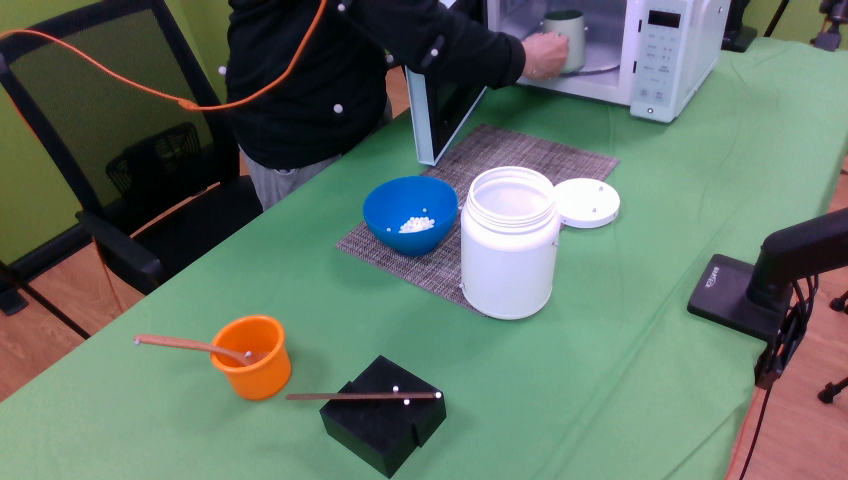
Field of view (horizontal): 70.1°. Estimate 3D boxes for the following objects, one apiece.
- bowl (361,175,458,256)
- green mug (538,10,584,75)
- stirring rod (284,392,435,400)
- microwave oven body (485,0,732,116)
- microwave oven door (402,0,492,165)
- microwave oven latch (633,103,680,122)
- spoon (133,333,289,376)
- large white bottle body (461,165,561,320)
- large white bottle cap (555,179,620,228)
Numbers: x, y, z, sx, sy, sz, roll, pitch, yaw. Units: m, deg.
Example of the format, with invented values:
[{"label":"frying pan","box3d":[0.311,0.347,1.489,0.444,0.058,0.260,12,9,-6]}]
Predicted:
[{"label":"bowl","box3d":[-0.019,-0.028,0.955,0.151,0.077,0.150,-4,40,3]},{"label":"green mug","box3d":[0.270,-0.387,1.210,0.092,0.105,0.125,11,47,22]},{"label":"stirring rod","box3d":[-0.075,0.180,0.698,0.176,0.006,0.014,-2,6,6]},{"label":"microwave oven body","box3d":[0.377,-0.462,1.267,0.438,0.261,0.327,21,49,30]},{"label":"microwave oven door","box3d":[0.056,-0.343,1.167,0.039,0.245,0.356,11,43,20]},{"label":"microwave oven latch","box3d":[0.443,-0.249,1.157,0.078,0.029,0.030,21,49,30]},{"label":"spoon","box3d":[-0.257,0.137,0.747,0.021,0.195,0.041,-47,40,23]},{"label":"large white bottle body","box3d":[0.115,0.004,0.816,0.130,0.185,0.130,-2,43,2]},{"label":"large white bottle cap","box3d":[0.265,-0.062,1.001,0.115,0.018,0.114,-3,41,4]}]
